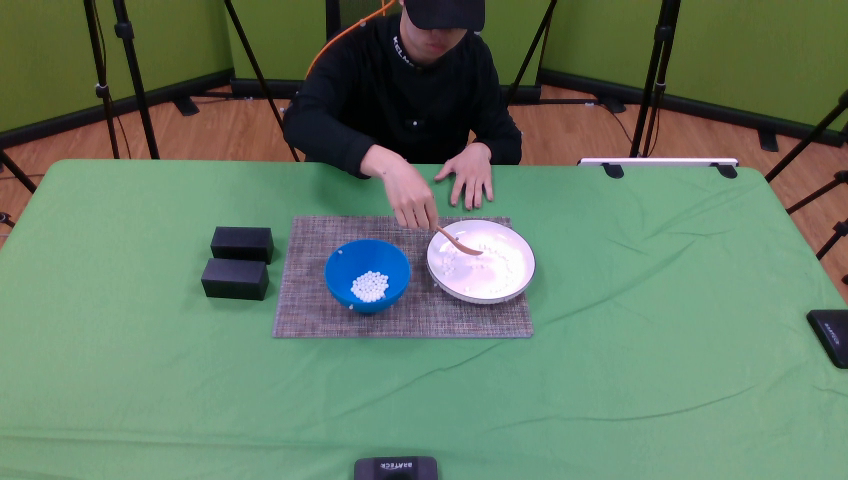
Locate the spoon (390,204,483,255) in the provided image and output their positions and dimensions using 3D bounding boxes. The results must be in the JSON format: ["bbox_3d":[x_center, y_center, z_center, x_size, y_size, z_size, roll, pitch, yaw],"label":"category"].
[{"bbox_3d":[0.024,-0.019,1.121,0.194,0.041,0.021,32,91,-8],"label":"spoon"}]

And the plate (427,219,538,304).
[{"bbox_3d":[0.109,0.044,1.149,0.208,0.039,0.206,2,46,-2],"label":"plate"}]

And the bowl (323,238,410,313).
[{"bbox_3d":[-0.101,0.077,1.073,0.151,0.077,0.150,2,46,-2],"label":"bowl"}]
